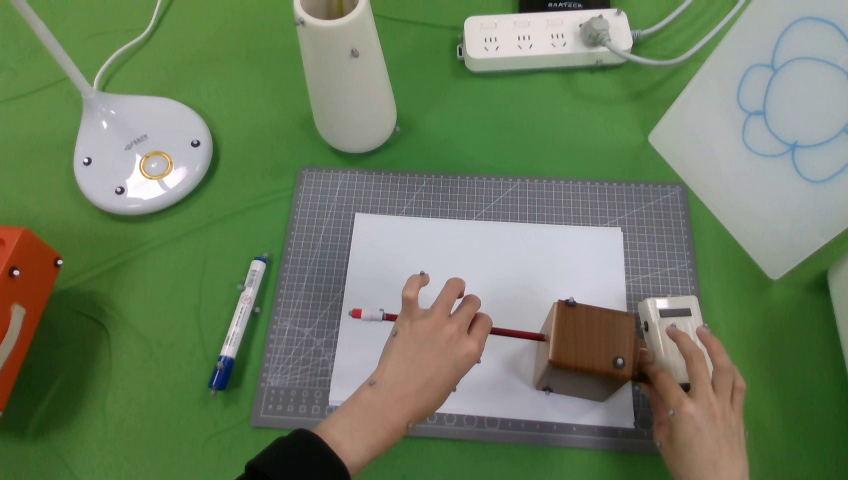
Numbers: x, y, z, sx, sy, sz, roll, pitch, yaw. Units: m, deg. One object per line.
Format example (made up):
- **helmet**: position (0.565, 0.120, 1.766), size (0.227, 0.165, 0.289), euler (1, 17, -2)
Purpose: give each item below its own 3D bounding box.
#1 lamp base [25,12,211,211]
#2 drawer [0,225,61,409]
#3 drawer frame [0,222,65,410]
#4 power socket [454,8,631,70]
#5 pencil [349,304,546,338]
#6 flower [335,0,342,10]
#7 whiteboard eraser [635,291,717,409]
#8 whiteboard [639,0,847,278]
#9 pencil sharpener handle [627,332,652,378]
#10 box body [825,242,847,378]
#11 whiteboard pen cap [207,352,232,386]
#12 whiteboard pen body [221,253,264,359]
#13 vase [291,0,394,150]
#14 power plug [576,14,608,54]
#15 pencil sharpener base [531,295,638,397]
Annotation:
- **lamp base**: position (-0.346, -0.145, 0.652), size (0.178, 0.182, 0.160), euler (34, 69, 19)
- **drawer**: position (-0.481, 0.075, 0.557), size (0.211, 0.074, 0.193), euler (5, 66, 4)
- **drawer frame**: position (-0.487, 0.077, 0.559), size (0.213, 0.083, 0.200), euler (6, 66, 2)
- **power socket**: position (0.152, -0.257, 0.775), size (0.227, 0.033, 0.071), euler (-2, 65, 0)
- **pencil**: position (0.028, 0.075, 0.547), size (0.194, 0.012, 0.012), euler (7, 65, 3)
- **flower**: position (-0.083, -0.236, 0.588), size (0.038, 0.365, 0.043), euler (-8, 46, -10)
- **whiteboard eraser**: position (0.245, 0.107, 0.594), size (0.055, 0.042, 0.112), euler (-2, 65, -1)
- **whiteboard**: position (0.409, -0.145, 0.601), size (0.144, 0.307, 0.215), euler (-19, 63, -28)
- **pencil sharpener handle**: position (0.196, 0.106, 0.546), size (0.030, 0.068, 0.035), euler (9, 57, 6)
- **box body**: position (0.527, 0.144, 0.507), size (0.254, 0.161, 0.361), euler (2, 65, 2)
- **whiteboard pen cap**: position (-0.203, 0.127, 0.603), size (0.018, 0.018, 0.033), euler (7, 59, 5)
- **whiteboard pen body**: position (-0.192, 0.077, 0.631), size (0.017, 0.017, 0.139), euler (7, 61, 5)
- **vase**: position (-0.088, -0.184, 0.655), size (0.098, 0.201, 0.097), euler (-1, 64, 3)
- **power plug**: position (0.203, -0.244, 0.742), size (0.035, 0.053, 0.072), euler (7, 67, 5)
- **pencil sharpener base**: position (0.146, 0.102, 0.562), size (0.076, 0.108, 0.061), euler (9, 65, 6)
